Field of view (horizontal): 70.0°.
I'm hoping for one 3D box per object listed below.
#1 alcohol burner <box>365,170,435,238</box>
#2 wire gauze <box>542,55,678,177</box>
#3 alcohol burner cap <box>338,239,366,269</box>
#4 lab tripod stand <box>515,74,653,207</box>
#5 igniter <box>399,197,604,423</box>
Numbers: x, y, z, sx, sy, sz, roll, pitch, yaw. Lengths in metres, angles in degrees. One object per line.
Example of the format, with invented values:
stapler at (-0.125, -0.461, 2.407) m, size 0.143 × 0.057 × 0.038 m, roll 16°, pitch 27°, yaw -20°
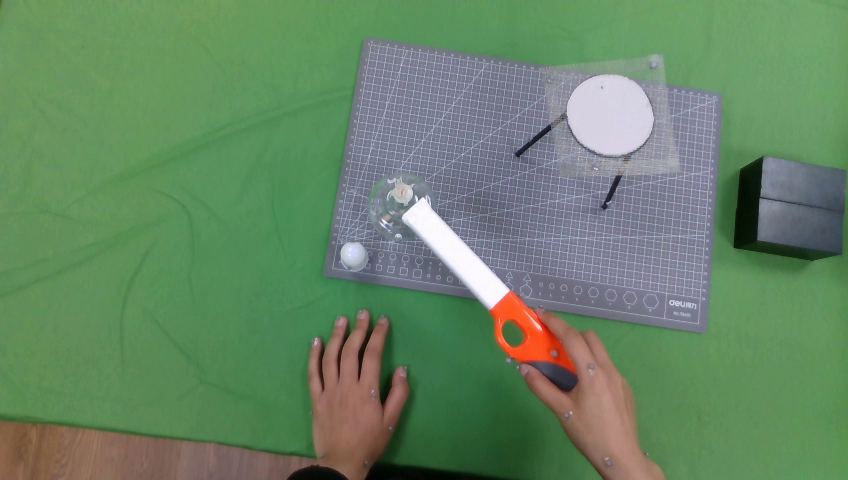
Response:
alcohol burner at (-0.026, -0.042, 0.656) m, size 0.078 × 0.119 × 0.077 m, roll 1°, pitch 82°, yaw -3°
wire gauze at (0.185, -0.123, 0.602) m, size 0.125 × 0.011 × 0.121 m, roll -4°, pitch 81°, yaw -3°
alcohol burner cap at (-0.082, 0.014, 0.680) m, size 0.034 × 0.048 × 0.033 m, roll 0°, pitch 81°, yaw -3°
lab tripod stand at (0.184, -0.118, 0.669) m, size 0.148 × 0.132 × 0.147 m, roll 0°, pitch 79°, yaw -2°
igniter at (0.078, 0.068, 0.598) m, size 0.057 × 0.025 × 0.276 m, roll -43°, pitch 87°, yaw -10°
